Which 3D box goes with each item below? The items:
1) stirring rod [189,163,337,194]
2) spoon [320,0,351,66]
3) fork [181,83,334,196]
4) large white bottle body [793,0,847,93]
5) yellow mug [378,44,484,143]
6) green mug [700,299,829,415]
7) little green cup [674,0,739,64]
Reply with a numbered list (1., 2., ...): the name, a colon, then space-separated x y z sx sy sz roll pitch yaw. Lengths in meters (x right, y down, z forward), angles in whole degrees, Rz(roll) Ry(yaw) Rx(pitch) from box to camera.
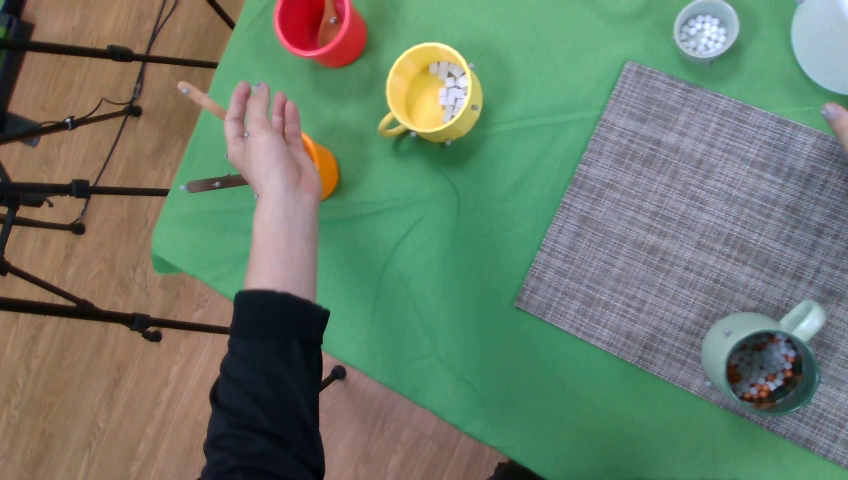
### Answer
1. stirring rod: -0.187 -0.074 0.720 0.177 0.006 0.014 -12 85 -26
2. spoon: -0.105 -0.290 0.694 0.041 0.021 0.195 21 140 14
3. fork: -0.192 -0.117 0.716 0.209 0.018 0.028 36 99 -31
4. large white bottle body: 0.417 -0.212 0.525 0.130 0.185 0.130 0 89 17
5. yellow mug: 0.001 -0.159 0.705 0.131 0.064 0.099 -34 81 14
6. green mug: 0.334 0.106 0.585 0.092 0.105 0.125 43 100 13
7. little green cup: 0.294 -0.216 0.636 0.061 0.039 0.061 0 91 16
